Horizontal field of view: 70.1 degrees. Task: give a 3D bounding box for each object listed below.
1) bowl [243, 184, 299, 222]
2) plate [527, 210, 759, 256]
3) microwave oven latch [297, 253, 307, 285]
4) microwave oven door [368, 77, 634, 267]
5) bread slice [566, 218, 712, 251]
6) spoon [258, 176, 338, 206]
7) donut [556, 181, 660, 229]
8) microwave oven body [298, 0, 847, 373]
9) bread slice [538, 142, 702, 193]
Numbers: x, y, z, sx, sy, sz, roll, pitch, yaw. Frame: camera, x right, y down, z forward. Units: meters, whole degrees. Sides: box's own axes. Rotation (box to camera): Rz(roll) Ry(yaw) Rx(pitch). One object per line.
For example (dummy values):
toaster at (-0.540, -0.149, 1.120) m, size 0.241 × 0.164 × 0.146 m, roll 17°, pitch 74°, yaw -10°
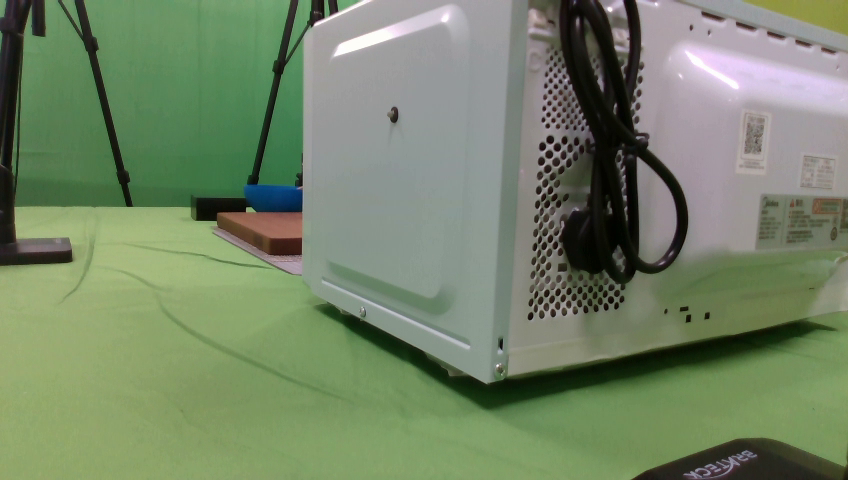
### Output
bowl at (-0.321, -0.081, 1.334) m, size 0.151 × 0.077 × 0.151 m, roll 3°, pitch 7°, yaw 0°
plate at (0.203, -0.009, 0.580) m, size 0.208 × 0.039 × 0.207 m, roll 0°, pitch 3°, yaw 0°
microwave oven latch at (-0.082, 0.027, 0.583) m, size 0.079 × 0.029 × 0.030 m, roll -1°, pitch 7°, yaw -33°
microwave oven door at (0.094, -0.099, 0.832) m, size 0.355 × 0.243 × 0.039 m, roll 5°, pitch 8°, yaw 18°
bread slice at (0.208, -0.007, 0.576) m, size 0.105 × 0.019 × 0.131 m, roll 2°, pitch 7°, yaw -8°
spoon at (-0.279, -0.112, 1.357) m, size 0.194 × 0.021 × 0.041 m, roll -28°, pitch 20°, yaw -26°
donut at (0.181, -0.033, 0.597) m, size 0.099 × 0.048 × 0.099 m, roll 1°, pitch 8°, yaw 0°
microwave oven body at (0.151, -0.055, 0.543) m, size 0.444 × 0.260 × 0.324 m, roll -1°, pitch 7°, yaw -33°
bread slice at (0.191, -0.070, 0.577) m, size 0.107 × 0.018 × 0.133 m, roll 0°, pitch 18°, yaw -32°
